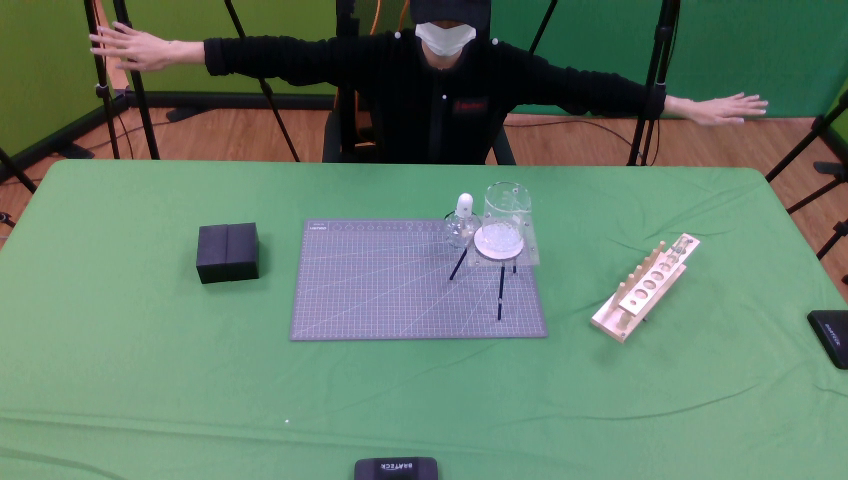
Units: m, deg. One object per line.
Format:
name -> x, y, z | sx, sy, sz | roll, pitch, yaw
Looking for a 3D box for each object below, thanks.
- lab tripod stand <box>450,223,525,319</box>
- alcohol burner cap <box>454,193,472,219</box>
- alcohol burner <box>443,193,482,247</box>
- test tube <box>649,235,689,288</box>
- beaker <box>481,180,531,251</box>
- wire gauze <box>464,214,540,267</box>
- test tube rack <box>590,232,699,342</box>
lab tripod stand -> 0.120, 0.046, 1.080 | 0.148, 0.132, 0.147 | 1, 47, -1
alcohol burner cap -> 0.076, -0.068, 1.151 | 0.034, 0.048, 0.033 | 4, 46, -4
alcohol burner -> 0.075, -0.044, 1.177 | 0.078, 0.120, 0.077 | 1, 44, -1
test tube -> 0.432, 0.043, 1.073 | 0.017, 0.151, 0.017 | 3, 51, -3
beaker -> 0.135, -0.036, 1.001 | 0.083, 0.101, 0.074 | 30, 53, 24
wire gauze -> 0.131, -0.001, 1.035 | 0.121, 0.011, 0.124 | 1, 44, -3
test tube rack -> 0.407, 0.074, 1.112 | 0.066, 0.085, 0.242 | 35, 53, 26
